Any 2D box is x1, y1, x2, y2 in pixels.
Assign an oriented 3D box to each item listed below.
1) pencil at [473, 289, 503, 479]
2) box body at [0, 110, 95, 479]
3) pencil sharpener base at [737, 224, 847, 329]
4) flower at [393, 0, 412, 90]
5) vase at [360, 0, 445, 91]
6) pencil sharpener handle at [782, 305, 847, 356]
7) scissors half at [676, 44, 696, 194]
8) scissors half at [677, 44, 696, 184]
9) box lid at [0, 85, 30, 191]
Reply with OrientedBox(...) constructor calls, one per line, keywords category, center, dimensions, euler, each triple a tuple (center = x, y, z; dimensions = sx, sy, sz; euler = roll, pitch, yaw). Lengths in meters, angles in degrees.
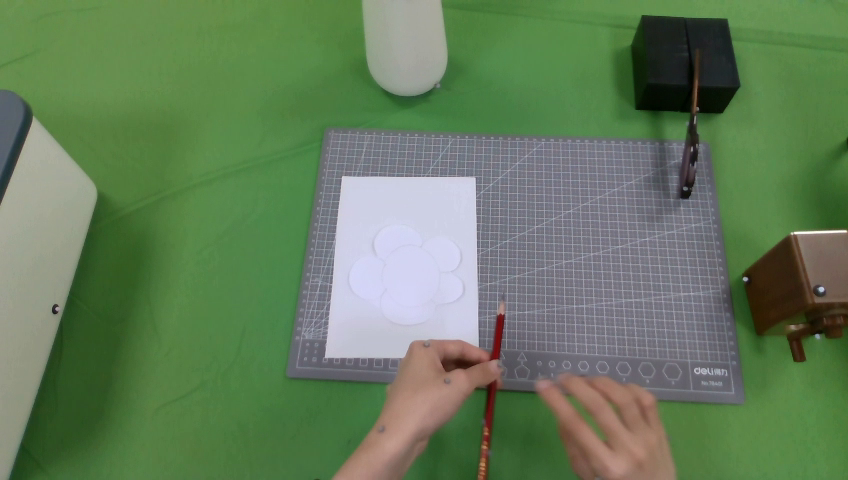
OrientedBox(category="pencil", center=(0.053, 0.137, 0.507), dimensions=(0.012, 0.012, 0.193), euler=(7, 82, 5))
OrientedBox(category="box body", center=(-0.501, 0.049, 0.567), dimensions=(0.254, 0.161, 0.361), euler=(3, 67, 3))
OrientedBox(category="pencil sharpener base", center=(0.358, 0.041, 0.579), dimensions=(0.061, 0.108, 0.076), euler=(-2, 67, 1))
OrientedBox(category="flower", center=(-0.036, -0.303, 0.596), dimensions=(0.044, 0.365, 0.038), euler=(-4, 49, 4))
OrientedBox(category="vase", center=(-0.027, -0.257, 0.667), dimensions=(0.098, 0.201, 0.097), euler=(-1, 65, 3))
OrientedBox(category="pencil sharpener handle", center=(0.354, 0.083, 0.547), dimensions=(0.036, 0.068, 0.030), euler=(4, 66, -12))
OrientedBox(category="scissors half", center=(0.293, -0.136, 0.673), dimensions=(0.012, 0.040, 0.175), euler=(7, 85, 19))
OrientedBox(category="scissors half", center=(0.288, -0.141, 0.654), dimensions=(0.013, 0.040, 0.174), euler=(8, 67, 14))
OrientedBox(category="box lid", center=(-0.503, 0.017, 0.499), dimensions=(0.263, 0.015, 0.368), euler=(3, 66, 2))
